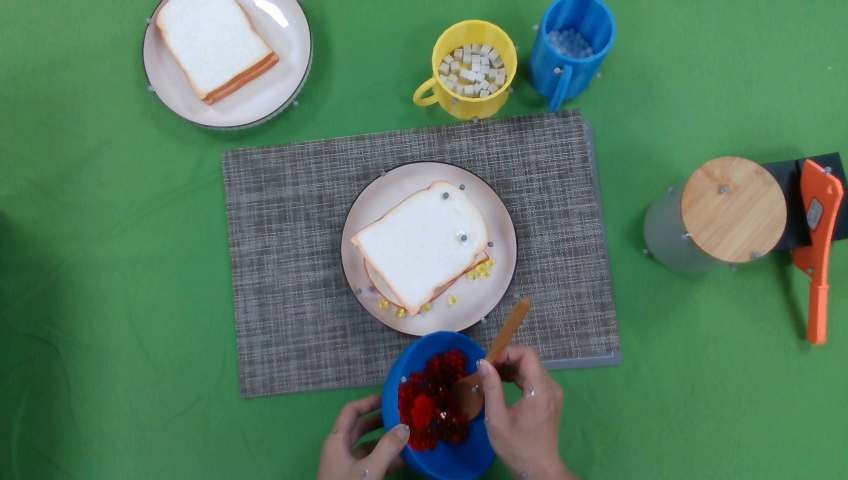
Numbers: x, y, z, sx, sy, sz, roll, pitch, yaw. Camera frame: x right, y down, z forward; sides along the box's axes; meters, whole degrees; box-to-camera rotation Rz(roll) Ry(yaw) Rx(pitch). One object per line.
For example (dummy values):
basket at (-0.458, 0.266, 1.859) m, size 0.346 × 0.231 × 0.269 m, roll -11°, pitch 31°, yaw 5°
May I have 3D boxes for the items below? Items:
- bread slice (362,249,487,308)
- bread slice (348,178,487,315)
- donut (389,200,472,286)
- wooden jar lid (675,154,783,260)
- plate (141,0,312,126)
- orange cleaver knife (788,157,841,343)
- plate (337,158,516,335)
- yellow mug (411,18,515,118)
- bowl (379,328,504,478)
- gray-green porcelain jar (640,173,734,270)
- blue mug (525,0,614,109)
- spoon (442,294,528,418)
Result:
bread slice at (-0.006, 0.018, 0.715) m, size 0.131 × 0.019 × 0.104 m, roll -39°, pitch 83°, yaw -7°
bread slice at (-0.001, -0.003, 0.655) m, size 0.134 × 0.018 × 0.107 m, roll -41°, pitch 91°, yaw -12°
donut at (0.008, 0.003, 0.686) m, size 0.099 × 0.048 × 0.098 m, roll 4°, pitch 79°, yaw -17°
wooden jar lid at (0.306, -0.032, 0.614) m, size 0.108 × 0.021 × 0.108 m, roll 0°, pitch 85°, yaw -2°
plate at (-0.240, -0.239, 0.751) m, size 0.208 × 0.039 × 0.207 m, roll 0°, pitch 82°, yaw 0°
orange cleaver knife at (0.440, 0.013, 0.692) m, size 0.012 × 0.076 × 0.212 m, roll -7°, pitch 108°, yaw 0°
plate at (0.003, 0.008, 0.713) m, size 0.209 × 0.038 × 0.208 m, roll 0°, pitch 82°, yaw 0°
yellow mug at (0.043, -0.199, 0.731) m, size 0.131 × 0.064 × 0.099 m, roll -27°, pitch 82°, yaw -2°
bowl at (0.005, 0.174, 0.643) m, size 0.153 × 0.076 × 0.150 m, roll 17°, pitch 63°, yaw -36°
gray-green porcelain jar at (0.308, -0.022, 0.676) m, size 0.106 × 0.127 × 0.105 m, roll 0°, pitch 82°, yaw 0°
blue mug at (0.164, -0.211, 0.713) m, size 0.082 × 0.106 × 0.116 m, roll 15°, pitch 82°, yaw 3°
spoon at (0.062, 0.121, 0.612) m, size 0.041 × 0.195 × 0.021 m, roll 37°, pitch 43°, yaw 14°
